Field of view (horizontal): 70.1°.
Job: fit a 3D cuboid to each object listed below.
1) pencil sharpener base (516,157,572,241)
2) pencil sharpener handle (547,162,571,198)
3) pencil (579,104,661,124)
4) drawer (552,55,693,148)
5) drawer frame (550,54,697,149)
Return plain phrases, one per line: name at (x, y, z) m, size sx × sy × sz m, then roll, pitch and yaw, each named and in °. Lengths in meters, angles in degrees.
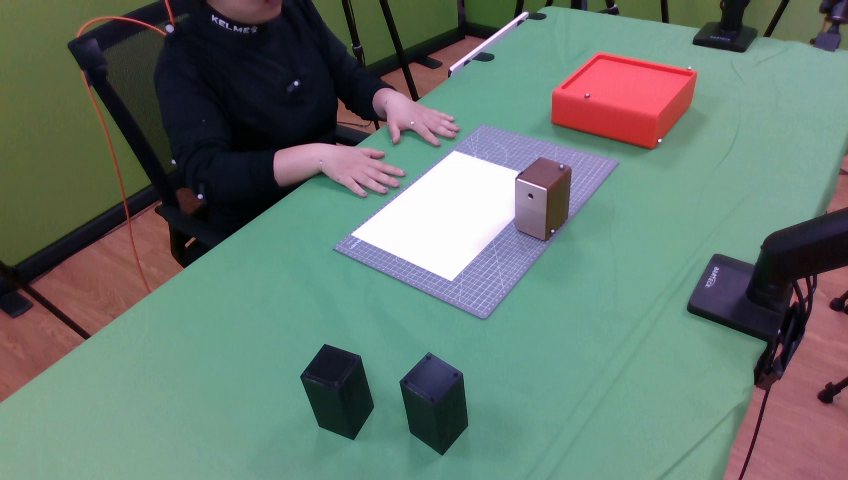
pencil sharpener base at (0.189, -0.065, 0.948) m, size 0.061 × 0.107 × 0.077 m, roll 24°, pitch 49°, yaw 33°
pencil sharpener handle at (0.221, -0.101, 0.968) m, size 0.035 × 0.068 × 0.031 m, roll 19°, pitch 46°, yaw 37°
pencil at (0.395, -0.255, 1.212) m, size 0.195 × 0.012 × 0.012 m, roll -14°, pitch 40°, yaw -17°
drawer at (0.389, -0.278, 1.196) m, size 0.210 × 0.073 × 0.195 m, roll 24°, pitch 49°, yaw 30°
drawer frame at (0.391, -0.280, 1.194) m, size 0.212 × 0.083 × 0.202 m, roll 23°, pitch 48°, yaw 30°
